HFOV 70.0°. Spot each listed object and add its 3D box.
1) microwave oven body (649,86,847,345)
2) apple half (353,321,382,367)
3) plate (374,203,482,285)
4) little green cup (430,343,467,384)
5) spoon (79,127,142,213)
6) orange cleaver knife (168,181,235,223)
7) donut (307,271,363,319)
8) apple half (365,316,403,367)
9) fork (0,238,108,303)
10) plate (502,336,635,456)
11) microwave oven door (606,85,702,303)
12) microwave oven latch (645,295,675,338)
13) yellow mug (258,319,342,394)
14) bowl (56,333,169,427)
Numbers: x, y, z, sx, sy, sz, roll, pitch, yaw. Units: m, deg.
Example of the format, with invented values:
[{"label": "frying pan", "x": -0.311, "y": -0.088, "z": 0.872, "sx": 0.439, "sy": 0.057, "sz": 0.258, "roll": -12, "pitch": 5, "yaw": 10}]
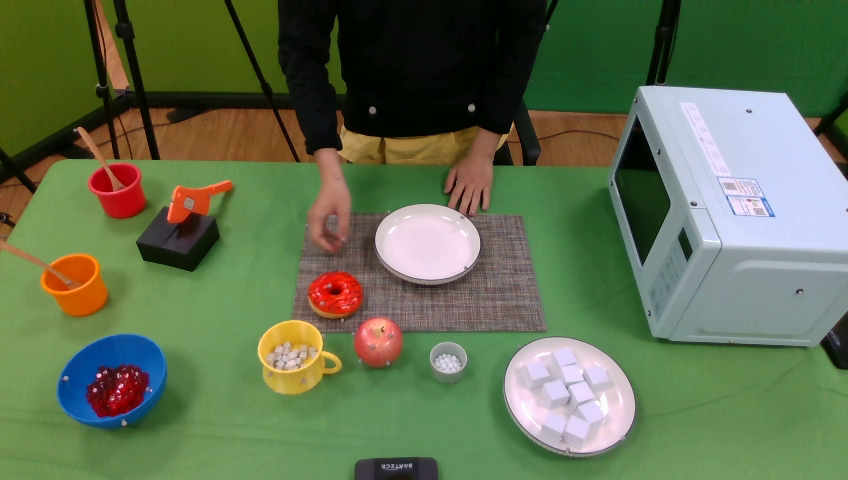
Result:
[{"label": "microwave oven body", "x": 0.567, "y": -0.053, "z": 1.118, "sx": 0.326, "sy": 0.261, "sz": 0.439, "roll": 2, "pitch": 45, "yaw": -1}, {"label": "apple half", "x": -0.098, "y": 0.177, "z": 0.984, "sx": 0.033, "sy": 0.081, "sz": 0.081, "roll": -17, "pitch": 49, "yaw": -25}, {"label": "plate", "x": 0.007, "y": 0.011, "z": 1.172, "sx": 0.209, "sy": 0.038, "sz": 0.208, "roll": 2, "pitch": 46, "yaw": -2}, {"label": "little green cup", "x": 0.039, "y": 0.203, "z": 0.994, "sx": 0.061, "sy": 0.039, "sz": 0.061, "roll": 2, "pitch": 46, "yaw": -2}, {"label": "spoon", "x": -0.624, "y": -0.139, "z": 1.203, "sx": 0.041, "sy": 0.021, "sz": 0.194, "roll": -33, "pitch": 100, "yaw": -26}, {"label": "orange cleaver knife", "x": -0.436, "y": -0.078, "z": 1.196, "sx": 0.012, "sy": 0.077, "sz": 0.211, "roll": 16, "pitch": 15, "yaw": 10}, {"label": "donut", "x": -0.157, "y": 0.097, "z": 1.073, "sx": 0.099, "sy": 0.048, "sz": 0.098, "roll": 3, "pitch": 45, "yaw": -3}, {"label": "apple half", "x": -0.063, "y": 0.165, "z": 1.000, "sx": 0.053, "sy": 0.075, "sz": 0.080, "roll": -16, "pitch": 45, "yaw": -24}, {"label": "fork", "x": -0.633, "y": 0.048, "z": 1.017, "sx": 0.208, "sy": 0.018, "sz": 0.028, "roll": 40, "pitch": 42, "yaw": -27}, {"label": "plate", "x": 0.225, "y": 0.248, "z": 0.963, "sx": 0.208, "sy": 0.039, "sz": 0.206, "roll": 2, "pitch": 46, "yaw": -2}, {"label": "microwave oven door", "x": 0.423, "y": -0.094, "z": 1.140, "sx": 0.039, "sy": 0.245, "sz": 0.353, "roll": 2, "pitch": 46, "yaw": -1}, {"label": "microwave oven latch", "x": 0.411, "y": 0.134, "z": 1.061, "sx": 0.030, "sy": 0.029, "sz": 0.078, "roll": 3, "pitch": 45, "yaw": 0}, {"label": "yellow mug", "x": -0.196, "y": 0.189, "z": 0.972, "sx": 0.131, "sy": 0.064, "sz": 0.099, "roll": 9, "pitch": 46, "yaw": 4}, {"label": "bowl", "x": -0.456, "y": 0.223, "z": 0.911, "sx": 0.151, "sy": 0.077, "sz": 0.150, "roll": 3, "pitch": 45, "yaw": -2}]
